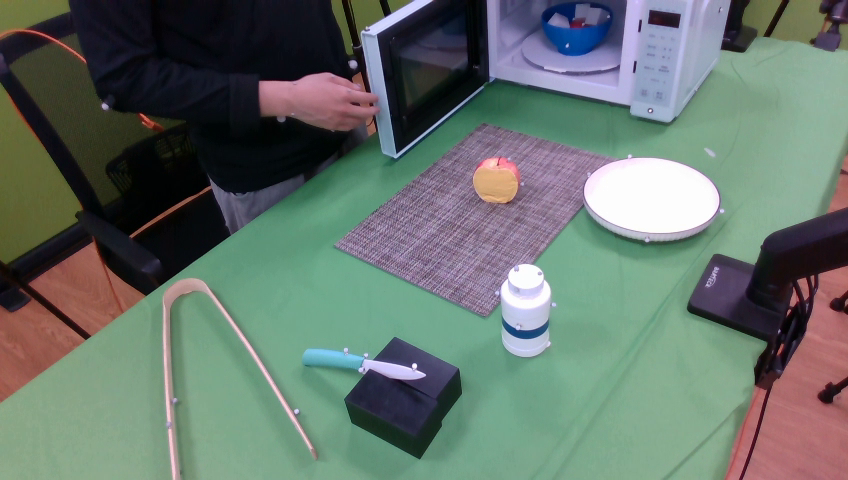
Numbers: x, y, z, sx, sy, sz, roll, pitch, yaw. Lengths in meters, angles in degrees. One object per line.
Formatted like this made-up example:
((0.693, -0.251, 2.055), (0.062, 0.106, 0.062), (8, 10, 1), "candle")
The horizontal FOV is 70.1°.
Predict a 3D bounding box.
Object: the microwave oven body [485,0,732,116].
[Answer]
((0.377, -0.462, 1.267), (0.438, 0.261, 0.327), (21, 48, 30), "microwave oven body")

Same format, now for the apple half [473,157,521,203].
((0.127, -0.106, 1.030), (0.080, 0.075, 0.053), (4, 36, 19), "apple half")

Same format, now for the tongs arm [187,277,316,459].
((-0.241, 0.154, 0.815), (0.028, 0.028, 0.384), (-31, 46, -21), "tongs arm")

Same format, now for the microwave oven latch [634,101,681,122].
((0.446, -0.250, 1.158), (0.078, 0.029, 0.030), (25, 51, 33), "microwave oven latch")

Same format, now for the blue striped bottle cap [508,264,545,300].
((0.125, 0.051, 0.735), (0.044, 0.021, 0.044), (-6, 39, 5), "blue striped bottle cap")

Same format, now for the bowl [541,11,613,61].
((0.332, -0.437, 1.306), (0.151, 0.077, 0.151), (-8, 30, 5), "bowl")

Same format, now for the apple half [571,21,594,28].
((0.335, -0.449, 1.300), (0.081, 0.033, 0.081), (-16, 32, 10), "apple half")

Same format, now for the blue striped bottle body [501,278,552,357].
((0.130, 0.088, 0.769), (0.063, 0.121, 0.063), (-4, 41, 4), "blue striped bottle body")

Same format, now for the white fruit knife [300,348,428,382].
((-0.079, 0.154, 0.748), (0.206, 0.027, 0.016), (1, 20, 34), "white fruit knife")

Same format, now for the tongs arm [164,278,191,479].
((-0.313, 0.182, 0.789), (0.051, 0.026, 0.381), (-19, 41, -14), "tongs arm")

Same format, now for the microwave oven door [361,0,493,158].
((0.022, -0.353, 1.184), (0.039, 0.245, 0.357), (21, 48, 30), "microwave oven door")

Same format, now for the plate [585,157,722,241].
((0.367, -0.063, 0.979), (0.207, 0.039, 0.206), (-4, 40, 4), "plate")
